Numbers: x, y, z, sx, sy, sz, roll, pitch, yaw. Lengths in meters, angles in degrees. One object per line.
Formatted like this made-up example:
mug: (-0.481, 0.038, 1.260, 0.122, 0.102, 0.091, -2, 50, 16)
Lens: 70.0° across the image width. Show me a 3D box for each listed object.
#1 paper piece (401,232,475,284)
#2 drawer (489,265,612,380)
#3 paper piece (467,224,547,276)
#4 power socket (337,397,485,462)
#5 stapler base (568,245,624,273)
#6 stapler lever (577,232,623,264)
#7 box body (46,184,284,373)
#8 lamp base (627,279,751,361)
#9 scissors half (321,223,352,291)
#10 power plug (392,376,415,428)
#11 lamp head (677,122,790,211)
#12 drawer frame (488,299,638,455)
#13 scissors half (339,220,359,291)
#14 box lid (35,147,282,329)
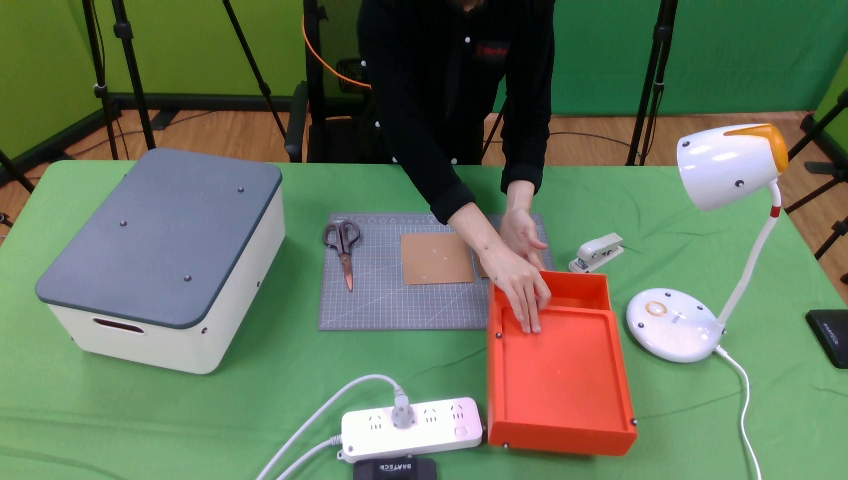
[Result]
paper piece: (0.025, 0.032, 1.175, 0.135, 0.004, 0.135, -1, 46, -5)
drawer: (0.204, 0.145, 0.973, 0.194, 0.073, 0.210, 5, 46, 0)
paper piece: (0.163, 0.019, 1.199, 0.136, 0.009, 0.137, -1, 45, -10)
power socket: (-0.018, 0.285, 0.915, 0.227, 0.033, 0.071, -5, 46, -8)
stapler base: (0.341, 0.029, 1.195, 0.130, 0.024, 0.041, -26, 57, -28)
stapler lever: (0.345, 0.010, 1.178, 0.118, 0.040, 0.026, -26, 56, -29)
box body: (-0.414, 0.029, 1.039, 0.254, 0.161, 0.362, 10, 46, 5)
lamp base: (0.460, 0.100, 1.027, 0.178, 0.181, 0.160, 27, 51, 17)
scissors half: (-0.163, 0.031, 1.160, 0.040, 0.013, 0.174, -17, 51, -14)
power plug: (-0.030, 0.249, 0.917, 0.035, 0.053, 0.072, 3, 46, 0)
lamp head: (0.423, -0.104, 0.819, 0.122, 0.113, 0.112, -13, 33, 40)
drawer frame: (0.200, 0.201, 0.916, 0.202, 0.083, 0.212, 5, 47, 0)
scissors half: (-0.144, 0.026, 1.162, 0.040, 0.013, 0.174, -7, 50, 1)
box lid: (-0.411, -0.023, 0.987, 0.263, 0.015, 0.369, 10, 47, 5)
